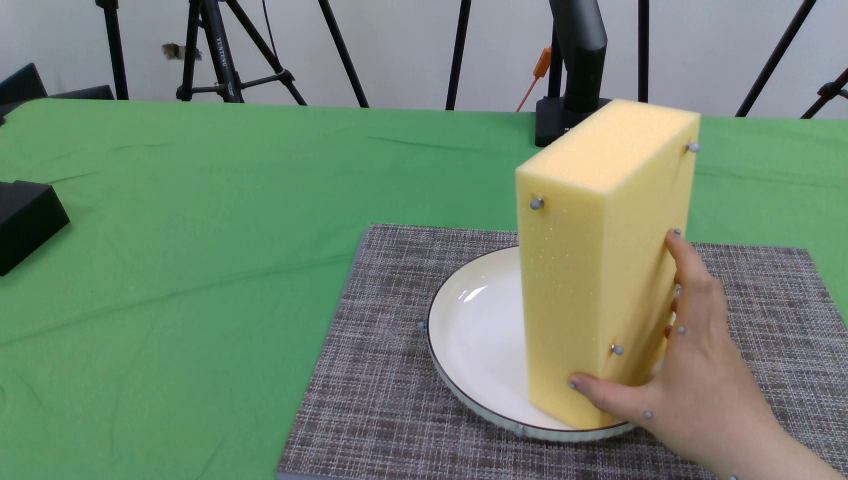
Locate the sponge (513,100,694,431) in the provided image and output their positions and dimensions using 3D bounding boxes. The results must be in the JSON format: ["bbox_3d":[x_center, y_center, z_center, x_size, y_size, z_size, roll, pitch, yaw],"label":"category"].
[{"bbox_3d":[0.125,0.023,0.425,0.060,0.209,0.118,22,47,37],"label":"sponge"}]

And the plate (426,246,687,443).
[{"bbox_3d":[0.106,0.082,0.505,0.207,0.039,0.205,-2,38,2],"label":"plate"}]
